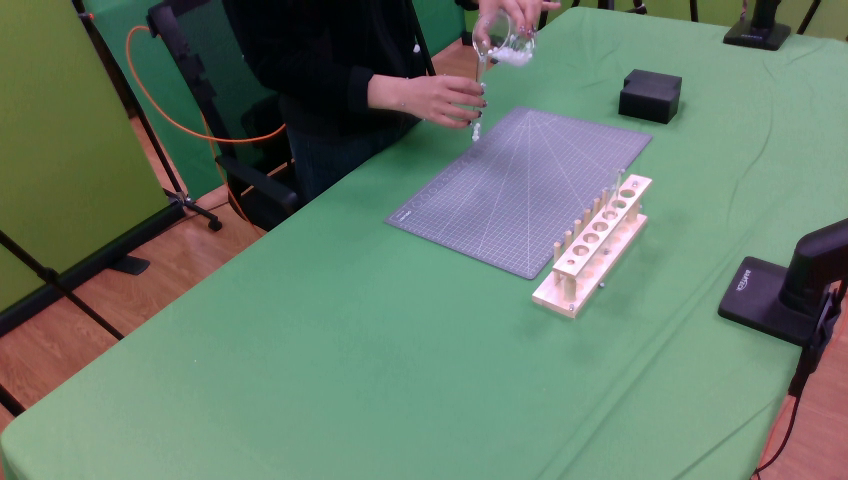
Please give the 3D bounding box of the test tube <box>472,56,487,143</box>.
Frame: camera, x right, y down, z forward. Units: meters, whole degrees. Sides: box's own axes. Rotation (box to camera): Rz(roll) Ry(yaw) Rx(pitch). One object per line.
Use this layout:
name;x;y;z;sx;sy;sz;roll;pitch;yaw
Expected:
test tube;0.095;-0.240;1.041;0.017;0.151;0.017;2;28;0

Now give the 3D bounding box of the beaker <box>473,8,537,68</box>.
beaker;0.140;-0.336;1.029;0.073;0.084;0.101;37;21;34

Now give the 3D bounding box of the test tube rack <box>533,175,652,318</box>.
test tube rack;0.251;-0.001;0.889;0.066;0.085;0.243;22;49;33

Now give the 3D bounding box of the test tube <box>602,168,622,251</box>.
test tube;0.264;-0.039;0.853;0.017;0.151;0.017;-5;44;6
